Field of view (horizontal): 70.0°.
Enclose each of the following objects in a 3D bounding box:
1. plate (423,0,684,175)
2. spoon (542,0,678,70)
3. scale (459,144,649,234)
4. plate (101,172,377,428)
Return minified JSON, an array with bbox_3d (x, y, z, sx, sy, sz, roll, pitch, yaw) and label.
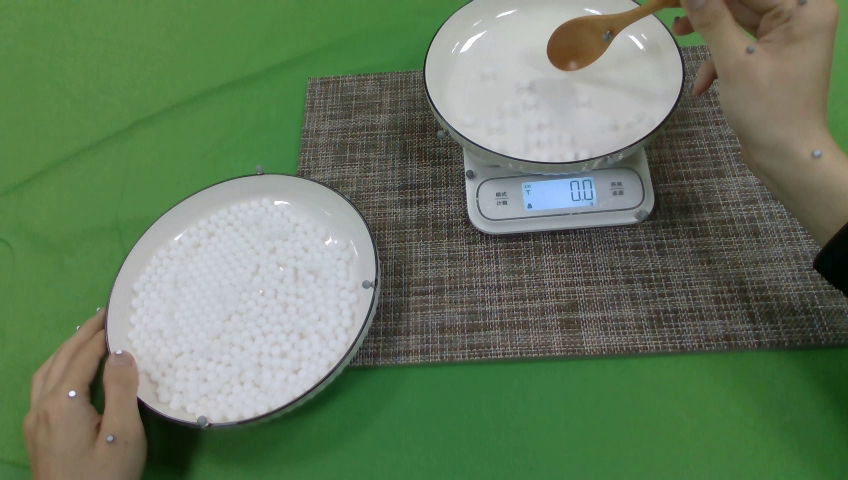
[{"bbox_3d":[0.103,-0.134,0.505,0.207,0.039,0.206,-2,60,4],"label":"plate"},{"bbox_3d":[0.154,-0.164,0.427,0.042,0.193,0.021,45,67,-18],"label":"spoon"},{"bbox_3d":[0.104,-0.100,0.523,0.148,0.032,0.199,-4,60,4],"label":"scale"},{"bbox_3d":[-0.136,0.042,0.463,0.209,0.038,0.207,-3,60,5],"label":"plate"}]
